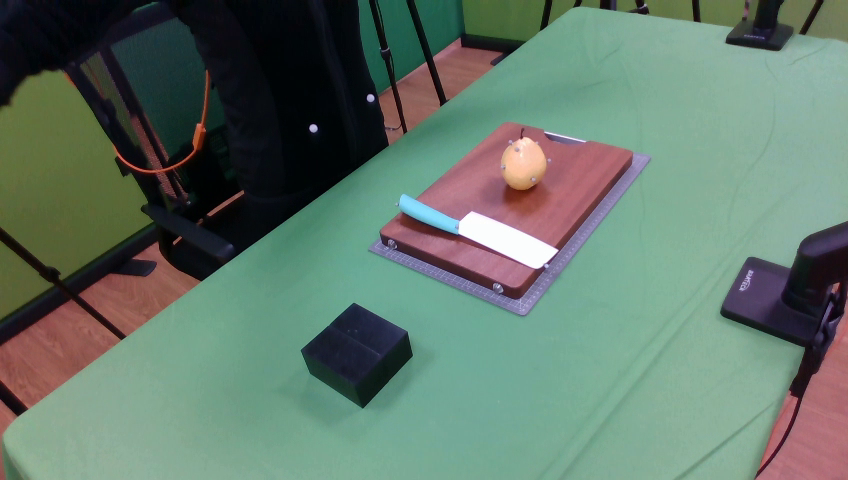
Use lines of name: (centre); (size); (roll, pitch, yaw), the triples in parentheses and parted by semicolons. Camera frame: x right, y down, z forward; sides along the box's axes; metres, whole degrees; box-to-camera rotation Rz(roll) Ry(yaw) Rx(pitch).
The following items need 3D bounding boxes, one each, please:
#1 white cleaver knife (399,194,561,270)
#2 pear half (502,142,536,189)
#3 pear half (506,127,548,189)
white cleaver knife: (0.079, -0.019, 0.958); (0.284, 0.021, 0.066); (26, 46, 28)
pear half: (0.152, -0.119, 1.000); (0.070, 0.088, 0.031); (28, 53, 30)
pear half: (0.174, -0.145, 1.011); (0.076, 0.110, 0.056); (27, 52, 30)
